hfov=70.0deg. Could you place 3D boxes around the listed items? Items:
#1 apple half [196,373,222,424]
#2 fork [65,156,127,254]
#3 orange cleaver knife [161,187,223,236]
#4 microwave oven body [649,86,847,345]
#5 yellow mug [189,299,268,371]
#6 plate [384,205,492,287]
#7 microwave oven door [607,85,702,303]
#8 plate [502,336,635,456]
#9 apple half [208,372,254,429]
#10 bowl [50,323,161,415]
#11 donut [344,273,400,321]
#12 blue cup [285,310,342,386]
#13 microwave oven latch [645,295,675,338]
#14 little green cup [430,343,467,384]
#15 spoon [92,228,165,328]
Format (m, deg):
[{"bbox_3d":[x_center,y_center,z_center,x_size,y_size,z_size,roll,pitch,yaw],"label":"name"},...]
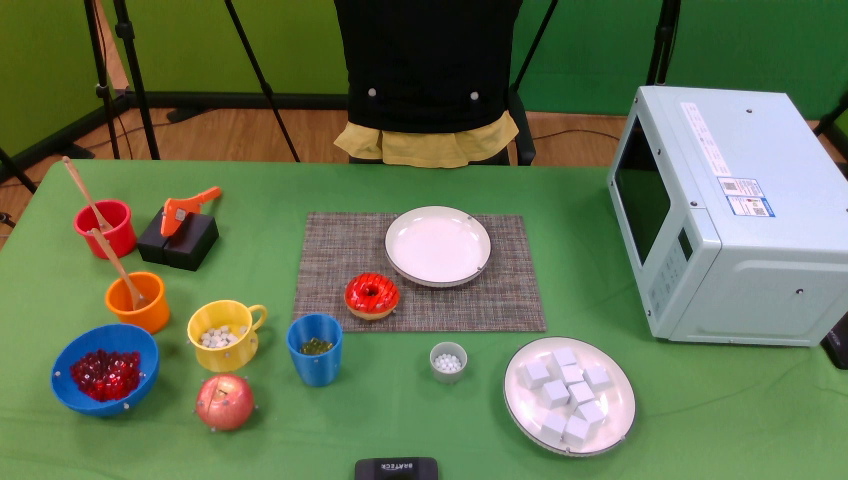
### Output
[{"bbox_3d":[-0.322,0.239,0.907,0.033,0.081,0.081,7,46,-1],"label":"apple half"},{"bbox_3d":[-0.614,-0.064,1.130,0.028,0.018,0.207,-29,96,-14],"label":"fork"},{"bbox_3d":[-0.449,-0.059,1.180,0.012,0.077,0.211,14,17,6],"label":"orange cleaver knife"},{"bbox_3d":[0.568,-0.053,1.118,0.326,0.261,0.439,2,45,-1],"label":"microwave oven body"},{"bbox_3d":[-0.316,0.148,1.002,0.131,0.064,0.099,-32,56,-32],"label":"yellow mug"},{"bbox_3d":[0.027,0.016,1.169,0.209,0.038,0.208,2,46,-2],"label":"plate"},{"bbox_3d":[0.423,-0.094,1.141,0.039,0.245,0.353,2,46,-1],"label":"microwave oven door"},{"bbox_3d":[0.225,0.248,0.963,0.208,0.039,0.206,2,46,-2],"label":"plate"},{"bbox_3d":[-0.283,0.244,0.908,0.053,0.075,0.080,7,42,-1],"label":"apple half"},{"bbox_3d":[-0.472,0.209,0.924,0.151,0.077,0.150,2,45,-2],"label":"bowl"},{"bbox_3d":[-0.092,0.099,1.075,0.099,0.048,0.098,3,44,-2],"label":"donut"},{"bbox_3d":[-0.170,0.179,0.958,0.093,0.101,0.092,1,44,-1],"label":"blue cup"},{"bbox_3d":[0.412,0.134,1.061,0.030,0.029,0.078,3,45,0],"label":"microwave oven latch"},{"bbox_3d":[0.039,0.203,0.994,0.061,0.039,0.061,2,46,-2],"label":"little green cup"},{"bbox_3d":[-0.496,0.063,1.014,0.041,0.194,0.021,-33,12,-31],"label":"spoon"}]
